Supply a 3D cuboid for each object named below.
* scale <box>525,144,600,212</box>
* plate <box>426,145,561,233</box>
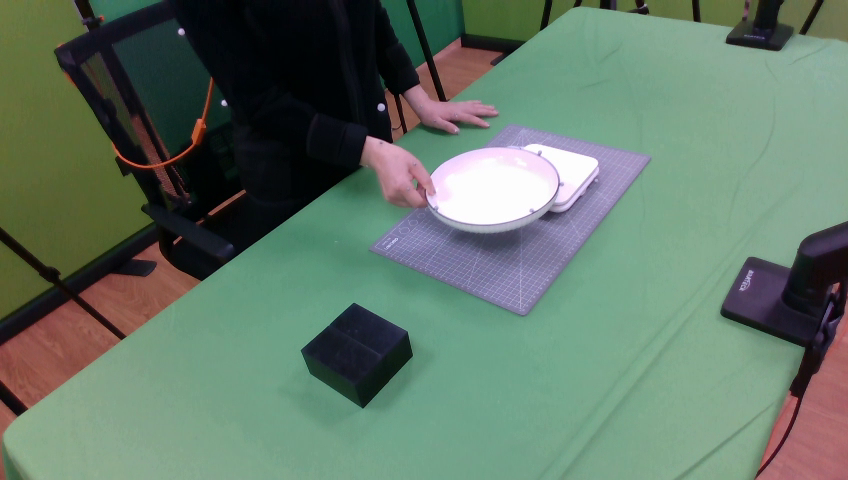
[{"bbox_3d":[0.194,-0.117,1.075,0.199,0.032,0.149,21,48,32],"label":"scale"},{"bbox_3d":[0.107,-0.077,0.940,0.209,0.038,0.208,-6,41,6],"label":"plate"}]
